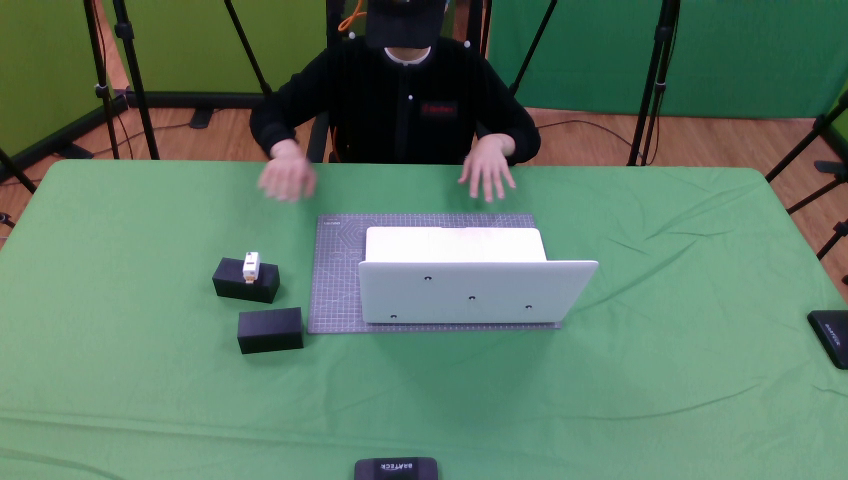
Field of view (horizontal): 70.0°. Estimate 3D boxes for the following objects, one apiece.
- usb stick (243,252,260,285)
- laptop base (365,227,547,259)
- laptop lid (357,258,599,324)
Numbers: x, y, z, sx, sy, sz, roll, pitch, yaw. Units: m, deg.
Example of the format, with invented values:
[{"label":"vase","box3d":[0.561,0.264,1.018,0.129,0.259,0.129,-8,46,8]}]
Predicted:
[{"label":"usb stick","box3d":[-0.301,0.051,1.055,0.021,0.027,0.059,1,48,-6]},{"label":"laptop base","box3d":[0.064,0.062,1.144,0.355,0.023,0.234,0,43,-4]},{"label":"laptop lid","box3d":[0.075,0.087,0.960,0.357,0.242,0.013,1,60,-5]}]
